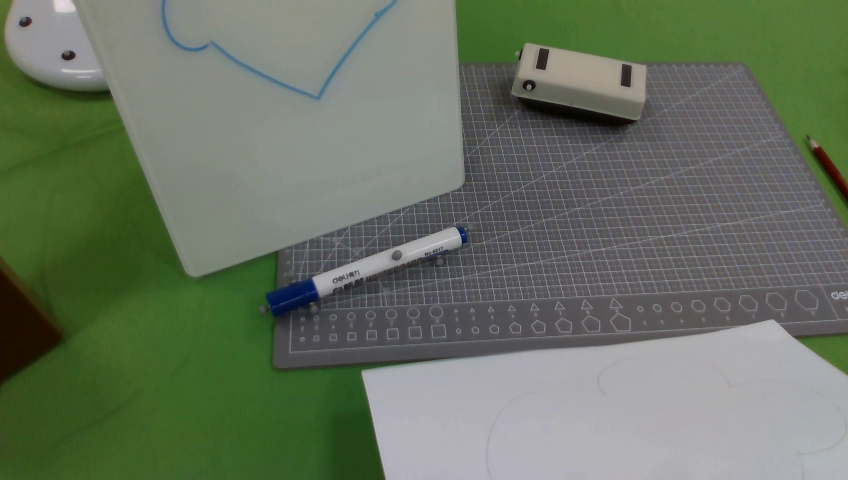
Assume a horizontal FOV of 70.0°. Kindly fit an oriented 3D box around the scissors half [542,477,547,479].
[{"bbox_3d":[0.120,0.168,0.283,0.175,0.040,0.013,42,73,-4],"label":"scissors half"}]

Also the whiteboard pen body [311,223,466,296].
[{"bbox_3d":[-0.034,0.016,0.419,0.141,0.017,0.017,-20,59,-17],"label":"whiteboard pen body"}]

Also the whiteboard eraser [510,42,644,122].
[{"bbox_3d":[0.135,-0.138,0.534,0.112,0.042,0.055,13,55,4],"label":"whiteboard eraser"}]

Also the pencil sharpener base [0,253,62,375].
[{"bbox_3d":[-0.269,0.034,0.336,0.061,0.108,0.076,38,60,20],"label":"pencil sharpener base"}]

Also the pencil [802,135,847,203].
[{"bbox_3d":[0.362,-0.019,0.498,0.012,0.012,0.192,-5,54,-9],"label":"pencil"}]

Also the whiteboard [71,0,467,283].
[{"bbox_3d":[-0.105,-0.162,0.405,0.217,0.308,0.142,-20,39,-17],"label":"whiteboard"}]

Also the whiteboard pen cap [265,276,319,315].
[{"bbox_3d":[-0.087,0.036,0.402,0.033,0.018,0.018,-21,59,-17],"label":"whiteboard pen cap"}]

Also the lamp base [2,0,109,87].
[{"bbox_3d":[-0.292,-0.244,0.484,0.178,0.182,0.160,31,58,19],"label":"lamp base"}]
